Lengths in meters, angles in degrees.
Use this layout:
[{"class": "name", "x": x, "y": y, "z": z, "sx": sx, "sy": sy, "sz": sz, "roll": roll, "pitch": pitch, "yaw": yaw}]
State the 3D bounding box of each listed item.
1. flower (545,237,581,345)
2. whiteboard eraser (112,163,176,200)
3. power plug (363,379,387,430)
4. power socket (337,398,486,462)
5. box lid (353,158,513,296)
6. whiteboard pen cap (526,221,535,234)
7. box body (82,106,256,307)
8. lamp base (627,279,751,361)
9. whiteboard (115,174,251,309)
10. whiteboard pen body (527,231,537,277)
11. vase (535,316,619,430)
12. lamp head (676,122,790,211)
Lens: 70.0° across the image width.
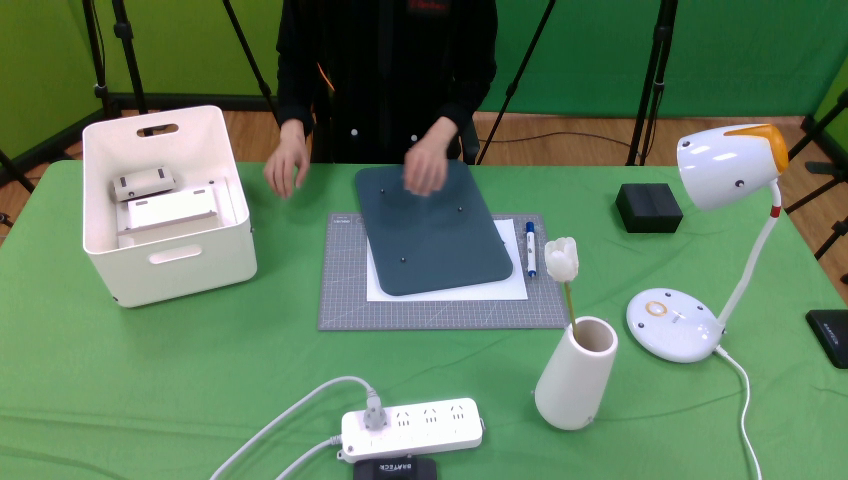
[{"class": "flower", "x": 0.213, "y": 0.137, "z": 0.846, "sx": 0.038, "sy": 0.364, "sz": 0.044, "roll": 21, "pitch": 55, "yaw": 40}, {"class": "whiteboard eraser", "x": -0.568, "y": -0.117, "z": 1.230, "sx": 0.113, "sy": 0.042, "sz": 0.055, "roll": -17, "pitch": 59, "yaw": -21}, {"class": "power plug", "x": -0.071, "y": 0.252, "z": 0.911, "sx": 0.035, "sy": 0.053, "sz": 0.072, "roll": 3, "pitch": 40, "yaw": 0}, {"class": "power socket", "x": -0.018, "y": 0.285, "z": 0.914, "sx": 0.227, "sy": 0.033, "sz": 0.071, "roll": -4, "pitch": 46, "yaw": -8}, {"class": "box lid", "x": 0.009, "y": -0.039, "z": 1.242, "sx": 0.264, "sy": 0.015, "sz": 0.369, "roll": -8, "pitch": 47, "yaw": -12}, {"class": "whiteboard pen cap", "x": 0.216, "y": -0.022, "z": 1.234, "sx": 0.018, "sy": 0.018, "sz": 0.033, "roll": 6, "pitch": 44, "yaw": 1}, {"class": "box body", "x": -0.471, "y": -0.070, "z": 1.131, "sx": 0.254, "sy": 0.161, "sz": 0.361, "roll": -14, "pitch": 49, "yaw": -17}, {"class": "lamp base", "x": 0.460, "y": 0.100, "z": 1.027, "sx": 0.178, "sy": 0.181, "sz": 0.160, "roll": 27, "pitch": 51, "yaw": 17}, {"class": "whiteboard", "x": -0.473, "y": -0.055, "z": 1.130, "sx": 0.217, "sy": 0.144, "sz": 0.303, "roll": -15, "pitch": 50, "yaw": -16}, {"class": "whiteboard pen body", "x": 0.211, "y": 0.018, "z": 1.191, "sx": 0.017, "sy": 0.017, "sz": 0.140, "roll": 6, "pitch": 44, "yaw": 2}, {"class": "vase", "x": 0.229, "y": 0.200, "z": 0.901, "sx": 0.098, "sy": 0.201, "sz": 0.097, "roll": 3, "pitch": 46, "yaw": -3}, {"class": "lamp head", "x": 0.423, "y": -0.104, "z": 0.819, "sx": 0.122, "sy": 0.113, "sz": 0.112, "roll": -13, "pitch": 33, "yaw": 40}]
